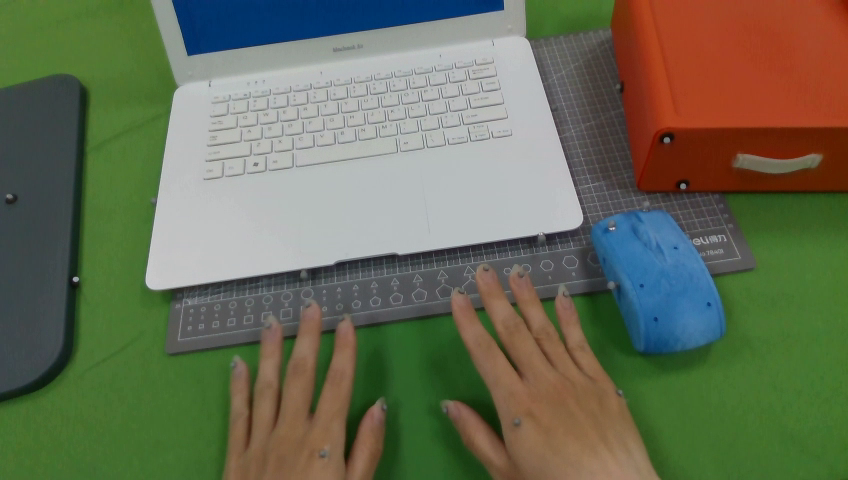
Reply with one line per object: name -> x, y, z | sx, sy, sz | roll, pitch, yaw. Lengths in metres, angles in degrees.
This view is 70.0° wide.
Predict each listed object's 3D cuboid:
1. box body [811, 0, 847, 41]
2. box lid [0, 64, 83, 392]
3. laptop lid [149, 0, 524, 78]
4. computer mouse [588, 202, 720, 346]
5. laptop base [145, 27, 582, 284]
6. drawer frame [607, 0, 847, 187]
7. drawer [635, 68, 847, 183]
box body -> 0.509, -0.226, 0.493 | 0.254, 0.162, 0.360 | -12, 57, -3
box lid -> -0.440, -0.009, 0.536 | 0.263, 0.015, 0.367 | -16, 57, -5
laptop lid -> -0.089, -0.284, 0.552 | 0.357, 0.243, 0.013 | -10, 27, 1
computer mouse -> 0.164, 0.019, 0.439 | 0.063, 0.041, 0.116 | -12, 55, 1
laptop base -> -0.060, -0.084, 0.542 | 0.354, 0.023, 0.233 | -8, 60, 0
drawer frame -> 0.271, -0.149, 0.512 | 0.201, 0.083, 0.211 | -1, 56, 5
drawer -> 0.271, -0.147, 0.512 | 0.194, 0.074, 0.210 | 0, 57, 5
